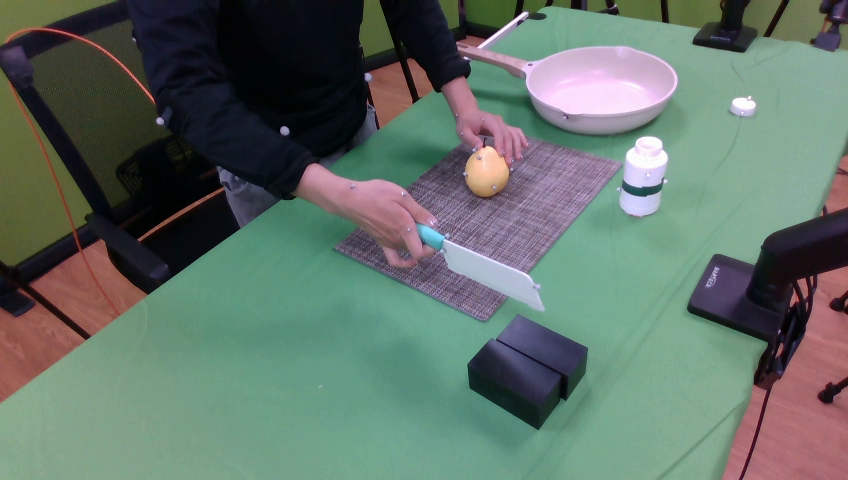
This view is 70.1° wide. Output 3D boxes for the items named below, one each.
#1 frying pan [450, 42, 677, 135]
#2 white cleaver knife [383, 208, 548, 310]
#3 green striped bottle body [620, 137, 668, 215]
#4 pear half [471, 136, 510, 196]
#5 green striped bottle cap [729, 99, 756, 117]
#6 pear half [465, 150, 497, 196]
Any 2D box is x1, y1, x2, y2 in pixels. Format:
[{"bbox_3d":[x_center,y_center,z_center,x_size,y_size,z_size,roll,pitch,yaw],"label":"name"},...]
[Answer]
[{"bbox_3d":[0.268,-0.344,1.267,0.485,0.103,0.307,26,49,21],"label":"frying pan"},{"bbox_3d":[0.039,0.021,0.763,0.021,0.066,0.284,-39,40,-22],"label":"white cleaver knife"},{"bbox_3d":[0.350,-0.103,0.963,0.063,0.120,0.063,-4,41,4],"label":"green striped bottle body"},{"bbox_3d":[0.115,-0.135,1.036,0.076,0.110,0.056,31,54,31],"label":"pear half"},{"bbox_3d":[0.623,-0.259,1.182,0.044,0.020,0.044,-3,40,3],"label":"green striped bottle cap"},{"bbox_3d":[0.090,-0.110,1.025,0.070,0.088,0.031,31,53,31],"label":"pear half"}]
